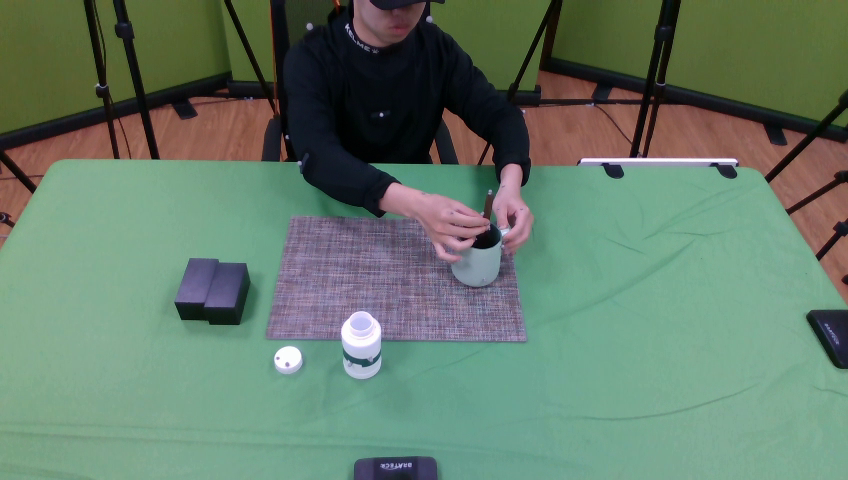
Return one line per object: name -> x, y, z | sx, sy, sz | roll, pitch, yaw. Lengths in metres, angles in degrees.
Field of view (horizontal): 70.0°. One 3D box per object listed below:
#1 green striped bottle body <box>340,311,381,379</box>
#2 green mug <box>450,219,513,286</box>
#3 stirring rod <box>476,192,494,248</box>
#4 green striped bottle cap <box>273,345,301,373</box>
green striped bottle body -> -0.101, 0.164, 0.964 | 0.063, 0.120, 0.063 | 2, 46, -2
green mug -> 0.111, 0.018, 1.125 | 0.125, 0.105, 0.092 | -22, 52, -23
stirring rod -> 0.106, -0.024, 1.081 | 0.014, 0.177, 0.006 | -7, 52, -9
green striped bottle cap -> -0.225, 0.195, 0.997 | 0.044, 0.020, 0.044 | 2, 50, -3
